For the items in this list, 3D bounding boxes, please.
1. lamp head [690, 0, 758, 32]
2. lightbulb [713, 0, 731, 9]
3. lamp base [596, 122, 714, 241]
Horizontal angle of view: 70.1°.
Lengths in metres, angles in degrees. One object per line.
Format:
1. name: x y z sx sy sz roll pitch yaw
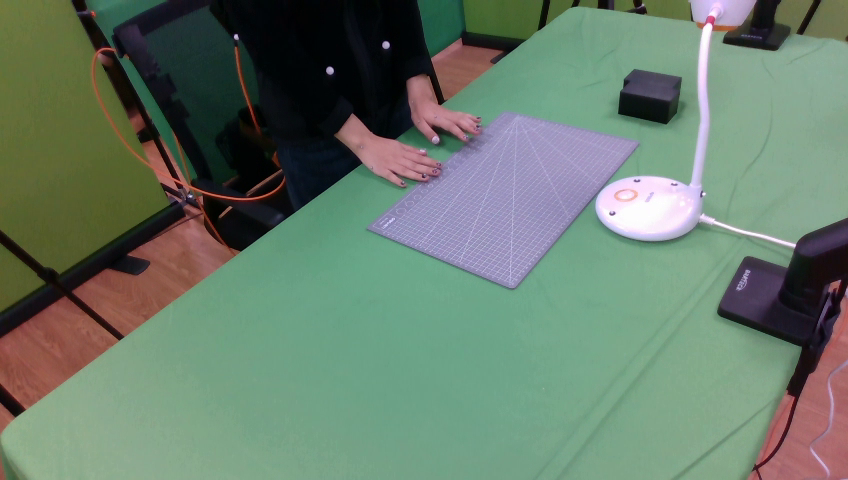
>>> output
1. lamp head: 0.434 -0.363 0.870 0.112 0.123 0.112 2 28 0
2. lightbulb: 0.432 -0.387 0.864 0.059 0.108 0.059 -5 31 4
3. lamp base: 0.363 -0.110 0.921 0.178 0.181 0.160 13 45 21
